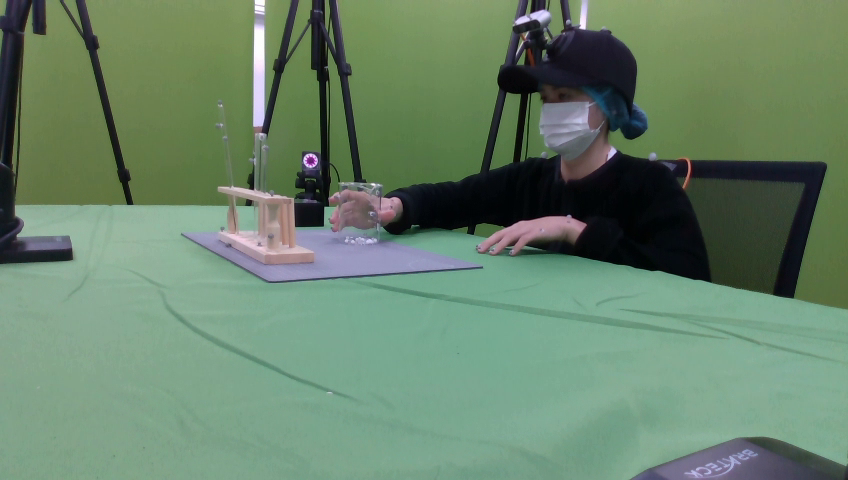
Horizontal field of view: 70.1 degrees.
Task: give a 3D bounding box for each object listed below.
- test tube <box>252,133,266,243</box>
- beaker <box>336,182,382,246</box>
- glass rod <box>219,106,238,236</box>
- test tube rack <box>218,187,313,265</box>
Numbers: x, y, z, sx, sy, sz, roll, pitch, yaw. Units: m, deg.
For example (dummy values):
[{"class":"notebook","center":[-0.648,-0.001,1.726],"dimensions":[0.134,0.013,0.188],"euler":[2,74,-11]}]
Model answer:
[{"class":"test tube","center":[-0.225,-0.070,0.826],"dimensions":[0.017,0.150,0.017],"euler":[2,2,0]},{"class":"beaker","center":[-0.107,-0.043,0.996],"dimensions":[0.074,0.100,0.083],"euler":[-2,10,-29]},{"class":"glass rod","center":[-0.294,-0.100,0.908],"dimensions":[0.008,0.199,0.008],"euler":[-3,12,1]},{"class":"test tube rack","center":[-0.235,-0.027,0.872],"dimensions":[0.067,0.085,0.241],"euler":[-2,8,-32]}]
